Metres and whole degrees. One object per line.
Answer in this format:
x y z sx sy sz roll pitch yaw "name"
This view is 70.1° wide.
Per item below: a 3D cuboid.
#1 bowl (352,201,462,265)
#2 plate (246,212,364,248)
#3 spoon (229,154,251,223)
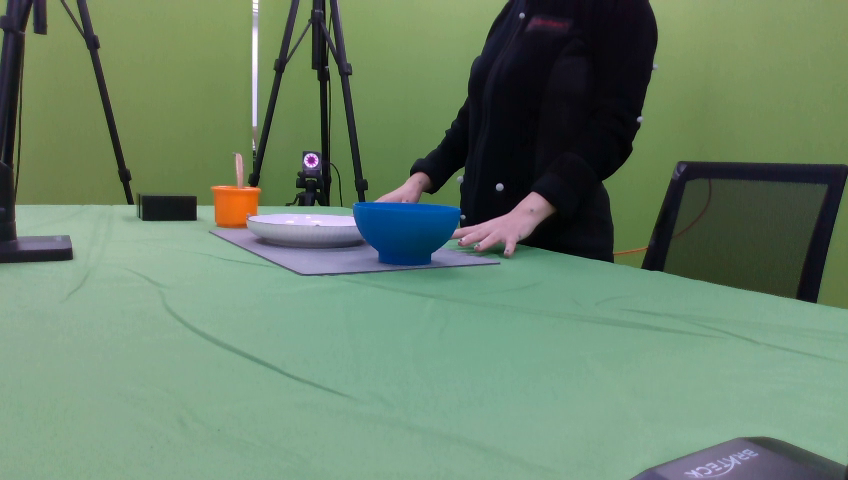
-0.025 -0.010 0.831 0.151 0.077 0.151 3 7 0 "bowl"
-0.184 -0.017 0.995 0.209 0.038 0.209 3 8 0 "plate"
-0.367 -0.106 1.208 0.042 0.193 0.021 2 -37 -20 "spoon"
